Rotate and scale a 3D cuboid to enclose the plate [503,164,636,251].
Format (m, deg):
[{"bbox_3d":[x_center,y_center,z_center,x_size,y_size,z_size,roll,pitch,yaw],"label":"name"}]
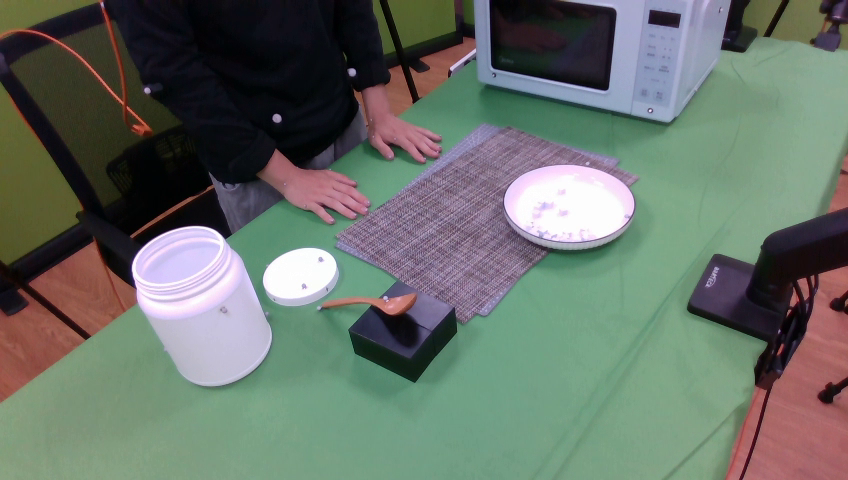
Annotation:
[{"bbox_3d":[0.232,-0.050,0.976,0.209,0.038,0.208,-3,41,3],"label":"plate"}]

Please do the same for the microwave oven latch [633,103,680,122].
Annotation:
[{"bbox_3d":[0.444,-0.249,1.157,0.078,0.029,0.030,20,48,30],"label":"microwave oven latch"}]

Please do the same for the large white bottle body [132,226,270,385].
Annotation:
[{"bbox_3d":[-0.286,0.085,0.784,0.130,0.185,0.130,-4,41,4],"label":"large white bottle body"}]

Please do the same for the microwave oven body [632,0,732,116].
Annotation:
[{"bbox_3d":[0.377,-0.462,1.267,0.438,0.261,0.327,21,48,30],"label":"microwave oven body"}]

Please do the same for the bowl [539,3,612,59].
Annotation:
[{"bbox_3d":[0.323,-0.441,1.298,0.151,0.077,0.150,-4,42,4],"label":"bowl"}]

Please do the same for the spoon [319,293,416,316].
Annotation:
[{"bbox_3d":[-0.082,0.086,0.826,0.192,0.022,0.041,-3,36,41],"label":"spoon"}]

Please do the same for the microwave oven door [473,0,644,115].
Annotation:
[{"bbox_3d":[0.257,-0.396,1.199,0.353,0.245,0.039,21,48,29],"label":"microwave oven door"}]

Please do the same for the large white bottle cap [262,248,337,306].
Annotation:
[{"bbox_3d":[-0.192,0.056,0.934,0.115,0.018,0.114,-4,41,4],"label":"large white bottle cap"}]
